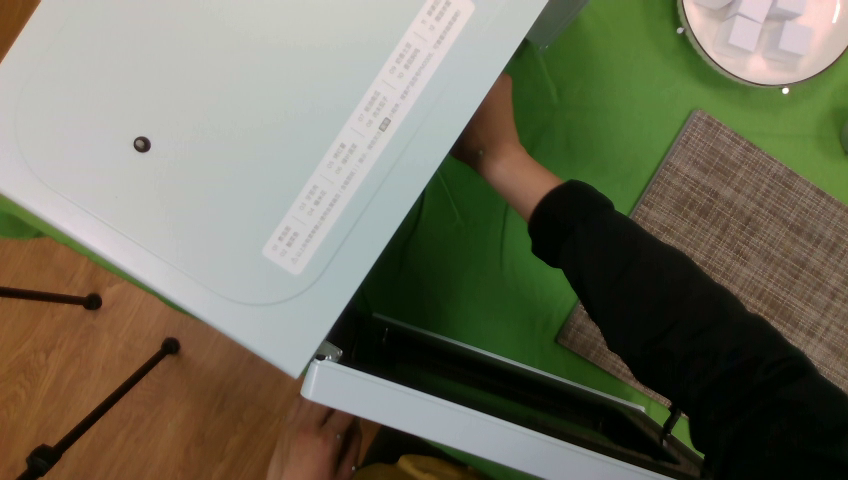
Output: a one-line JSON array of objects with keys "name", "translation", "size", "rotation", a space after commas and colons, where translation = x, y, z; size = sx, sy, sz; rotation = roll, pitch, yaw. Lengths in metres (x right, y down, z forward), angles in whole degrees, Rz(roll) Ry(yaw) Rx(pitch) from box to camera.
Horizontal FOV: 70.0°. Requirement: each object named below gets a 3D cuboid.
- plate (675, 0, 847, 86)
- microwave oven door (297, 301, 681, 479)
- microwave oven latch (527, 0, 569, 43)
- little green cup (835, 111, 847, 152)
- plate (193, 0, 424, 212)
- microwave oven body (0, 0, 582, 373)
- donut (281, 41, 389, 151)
[{"name": "plate", "translation": [0.367, -0.269, 0.653], "size": [0.208, 0.039, 0.207], "rotation": [0, 94, -4]}, {"name": "microwave oven door", "translation": [0.075, 0.143, 0.540], "size": [0.356, 0.243, 0.039], "rotation": [20, 91, -5]}, {"name": "microwave oven latch", "translation": [0.130, -0.243, 0.619], "size": [0.030, 0.029, 0.079], "rotation": [38, 91, -6]}, {"name": "little green cup", "translation": [0.494, -0.123, 0.672], "size": [0.061, 0.038, 0.061], "rotation": [0, 93, -4]}, {"name": "plate", "translation": [-0.104, -0.131, 0.564], "size": [0.209, 0.038, 0.209], "rotation": [0, 95, -5]}, {"name": "microwave oven body", "translation": [-0.085, -0.172, 0.513], "size": [0.327, 0.259, 0.441], "rotation": [34, 92, -6]}, {"name": "donut", "translation": [-0.081, -0.131, 0.557], "size": [0.099, 0.048, 0.099], "rotation": [0, 97, 1]}]
